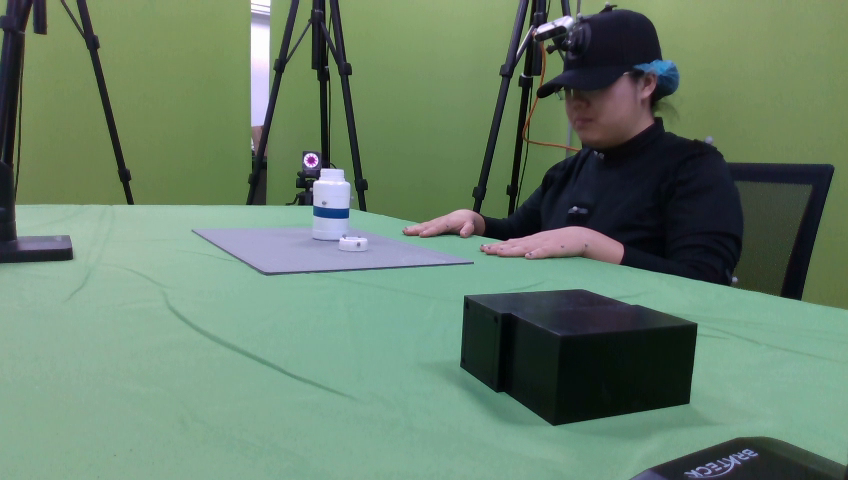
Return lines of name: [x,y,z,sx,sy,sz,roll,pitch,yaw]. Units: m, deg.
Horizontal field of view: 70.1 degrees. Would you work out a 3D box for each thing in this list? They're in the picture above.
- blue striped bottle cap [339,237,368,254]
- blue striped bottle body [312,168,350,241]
blue striped bottle cap: [-0.107,0.008,0.920,0.044,0.020,0.044,1,7,0]
blue striped bottle body: [-0.157,-0.062,1.025,0.063,0.120,0.063,3,7,0]
